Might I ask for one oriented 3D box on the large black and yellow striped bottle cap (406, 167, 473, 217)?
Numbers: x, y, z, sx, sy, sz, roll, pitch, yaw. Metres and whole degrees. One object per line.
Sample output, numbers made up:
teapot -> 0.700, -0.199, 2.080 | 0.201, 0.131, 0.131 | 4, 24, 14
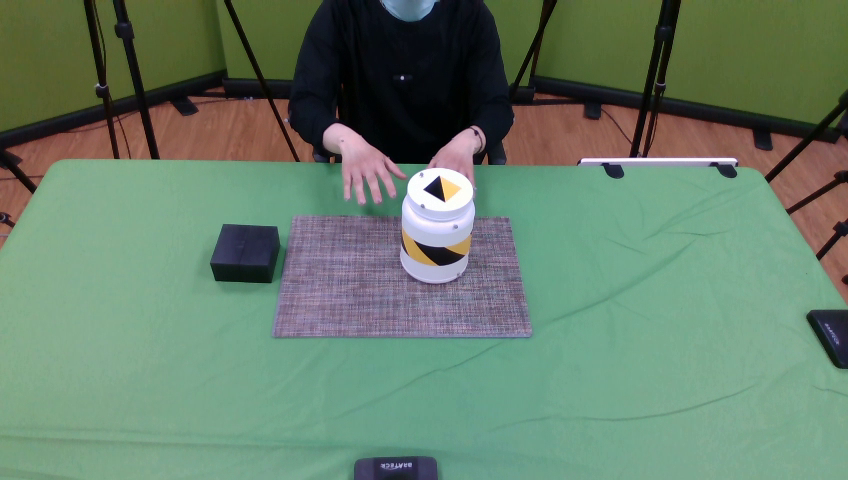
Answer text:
large black and yellow striped bottle cap -> 0.027, -0.084, 1.043 | 0.115, 0.019, 0.114 | 3, 46, -3

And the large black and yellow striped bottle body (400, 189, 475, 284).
large black and yellow striped bottle body -> 0.024, -0.024, 1.102 | 0.131, 0.185, 0.130 | 2, 46, -2
